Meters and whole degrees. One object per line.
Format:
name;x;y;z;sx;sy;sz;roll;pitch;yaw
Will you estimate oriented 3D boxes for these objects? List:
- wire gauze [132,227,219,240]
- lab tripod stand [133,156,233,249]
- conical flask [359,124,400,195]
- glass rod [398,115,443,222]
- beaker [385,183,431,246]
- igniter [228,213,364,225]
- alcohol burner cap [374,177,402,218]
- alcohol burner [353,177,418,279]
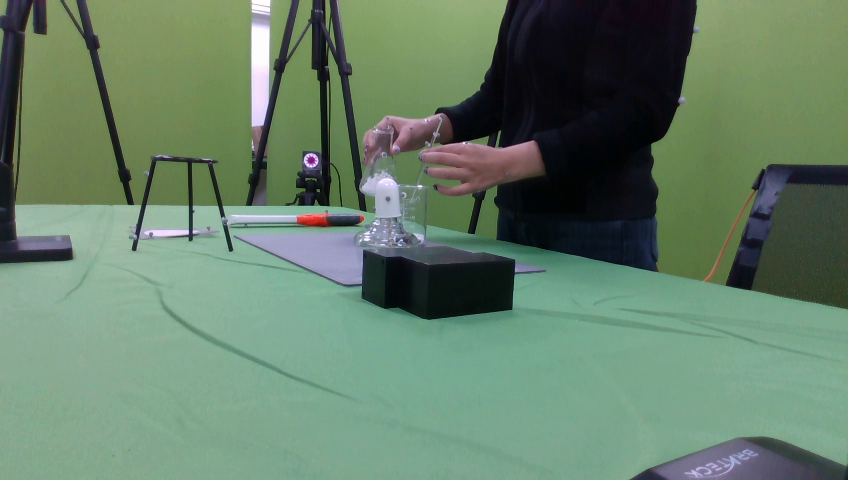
wire gauze;-0.421;-0.014;1.024;0.122;0.011;0.124;-2;7;-34
lab tripod stand;-0.342;-0.054;0.878;0.148;0.131;0.148;4;6;0
conical flask;-0.077;-0.144;1.082;0.075;0.122;0.075;5;17;-1
glass rod;-0.006;-0.112;0.985;0.008;0.199;0.008;18;28;-10
beaker;-0.031;-0.043;1.000;0.084;0.100;0.074;4;7;15
igniter;-0.252;-0.043;1.227;0.278;0.025;0.057;-2;-2;-32
alcohol burner cap;-0.044;-0.049;0.704;0.034;0.048;0.034;-4;10;1
alcohol burner;-0.044;-0.014;0.710;0.078;0.119;0.078;4;9;0
